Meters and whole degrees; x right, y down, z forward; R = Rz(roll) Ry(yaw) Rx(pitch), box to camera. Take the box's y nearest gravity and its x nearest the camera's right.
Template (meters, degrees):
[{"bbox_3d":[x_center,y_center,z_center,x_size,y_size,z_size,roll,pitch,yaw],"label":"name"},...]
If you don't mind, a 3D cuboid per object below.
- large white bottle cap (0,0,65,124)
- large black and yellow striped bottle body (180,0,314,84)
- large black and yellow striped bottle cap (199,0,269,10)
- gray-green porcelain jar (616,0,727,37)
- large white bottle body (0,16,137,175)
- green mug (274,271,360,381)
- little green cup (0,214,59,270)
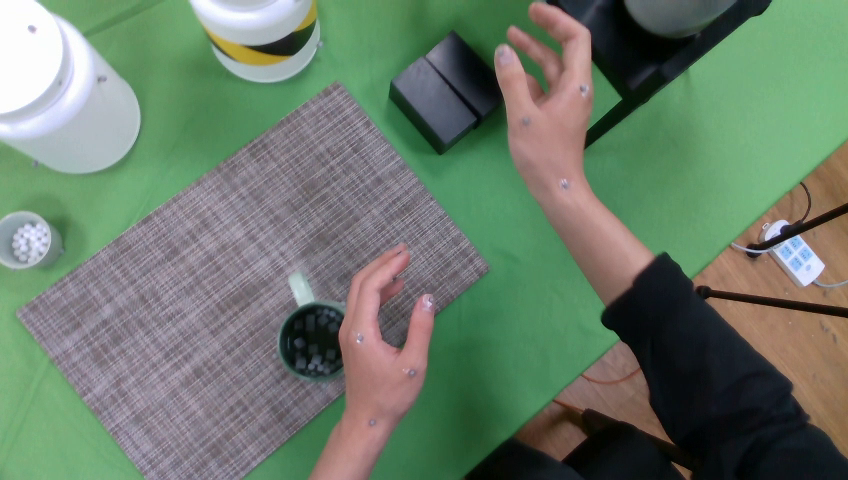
[{"bbox_3d":[-0.383,-0.161,0.538,0.115,0.018,0.114,1,83,-7],"label":"large white bottle cap"},{"bbox_3d":[-0.192,-0.264,0.661,0.131,0.184,0.130,1,82,-6],"label":"large black and yellow striped bottle body"},{"bbox_3d":[-0.184,-0.277,0.578,0.115,0.019,0.114,1,82,-8],"label":"large black and yellow striped bottle cap"},{"bbox_3d":[0.243,-0.258,0.561,0.106,0.126,0.105,1,81,-6],"label":"gray-green porcelain jar"},{"bbox_3d":[-0.393,-0.149,0.621,0.131,0.185,0.130,1,82,-6],"label":"large white bottle body"},{"bbox_3d":[-0.122,0.093,0.659,0.092,0.105,0.125,-22,85,-9],"label":"green mug"},{"bbox_3d":[-0.439,0.004,0.669,0.062,0.038,0.061,1,83,-7],"label":"little green cup"}]
